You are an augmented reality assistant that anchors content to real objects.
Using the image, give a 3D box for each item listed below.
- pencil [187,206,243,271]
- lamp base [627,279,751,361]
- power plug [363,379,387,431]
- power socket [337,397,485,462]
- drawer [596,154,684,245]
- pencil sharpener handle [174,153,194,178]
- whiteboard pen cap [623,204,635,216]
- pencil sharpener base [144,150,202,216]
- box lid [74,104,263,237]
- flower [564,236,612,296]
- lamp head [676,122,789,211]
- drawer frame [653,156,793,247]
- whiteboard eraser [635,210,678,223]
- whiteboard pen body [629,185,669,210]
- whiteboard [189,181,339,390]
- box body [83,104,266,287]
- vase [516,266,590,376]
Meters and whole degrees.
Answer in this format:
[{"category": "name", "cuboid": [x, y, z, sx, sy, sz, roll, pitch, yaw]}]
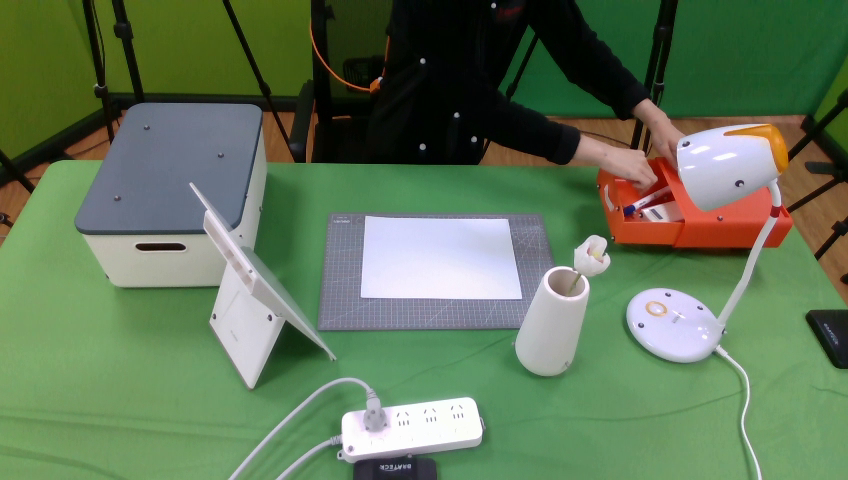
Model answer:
[{"category": "pencil", "cuboid": [-0.401, -0.009, 1.176, 0.012, 0.012, 0.193, 15, 44, 10]}, {"category": "lamp base", "cuboid": [0.459, 0.100, 1.027, 0.178, 0.181, 0.160, 27, 51, 17]}, {"category": "power plug", "cuboid": [-0.072, 0.252, 0.910, 0.035, 0.053, 0.072, 3, 44, -1]}, {"category": "power socket", "cuboid": [-0.018, 0.285, 0.915, 0.227, 0.033, 0.071, -5, 46, -8]}, {"category": "drawer", "cuboid": [0.468, -0.081, 1.211, 0.212, 0.073, 0.193, 3, 46, -3]}, {"category": "pencil sharpener handle", "cuboid": [-0.479, -0.156, 1.225, 0.036, 0.068, 0.030, 24, 47, 2]}, {"category": "whiteboard pen cap", "cuboid": [0.408, -0.060, 1.218, 0.033, 0.018, 0.018, -25, 53, -24]}, {"category": "pencil sharpener base", "cuboid": [-0.493, -0.113, 1.199, 0.061, 0.107, 0.076, 15, 46, 12]}, {"category": "box lid", "cuboid": [-0.443, -0.139, 1.095, 0.263, 0.015, 0.369, -1, 45, -5]}, {"category": "flower", "cuboid": [0.206, 0.088, 0.893, 0.038, 0.363, 0.044, -17, 67, -10]}, {"category": "lamp head", "cuboid": [0.423, -0.104, 0.819, 0.122, 0.113, 0.112, -13, 33, 40]}, {"category": "drawer frame", "cuboid": [0.579, -0.080, 1.215, 0.214, 0.083, 0.200, 0, 45, -3]}, {"category": "whiteboard eraser", "cuboid": [0.473, -0.024, 1.205, 0.113, 0.042, 0.055, 12, 30, -33]}, {"category": "whiteboard pen body", "cuboid": [0.459, -0.084, 1.239, 0.141, 0.017, 0.017, -24, 53, -25]}, {"category": "whiteboard", "cuboid": [-0.292, 0.096, 0.929, 0.144, 0.307, 0.216, -37, 57, -10]}, {"category": "box body", "cuboid": [-0.446, -0.088, 1.150, 0.254, 0.161, 0.361, -1, 46, -5]}, {"category": "vase", "cuboid": [0.208, 0.132, 0.965, 0.098, 0.201, 0.097, 3, 46, -3]}]
